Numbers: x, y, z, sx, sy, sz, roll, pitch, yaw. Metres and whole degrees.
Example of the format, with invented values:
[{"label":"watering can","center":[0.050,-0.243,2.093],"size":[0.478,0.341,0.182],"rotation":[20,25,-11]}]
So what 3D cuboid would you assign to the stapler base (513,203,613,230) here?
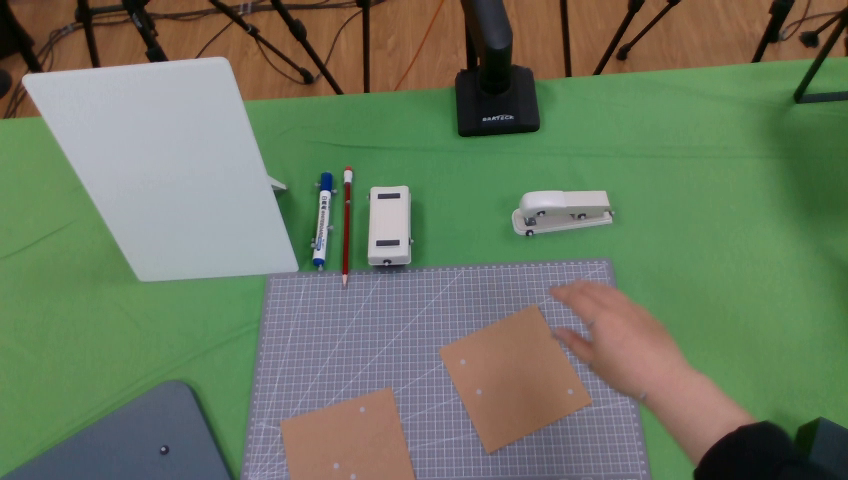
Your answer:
[{"label":"stapler base","center":[0.184,-0.043,0.801],"size":[0.130,0.024,0.041],"rotation":[-7,64,-1]}]

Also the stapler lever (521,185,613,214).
[{"label":"stapler lever","center":[0.184,-0.055,0.780],"size":[0.118,0.040,0.026],"rotation":[-8,64,0]}]

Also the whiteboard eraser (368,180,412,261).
[{"label":"whiteboard eraser","center":[-0.045,-0.026,0.802],"size":[0.055,0.042,0.111],"rotation":[-4,62,5]}]

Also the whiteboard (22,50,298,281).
[{"label":"whiteboard","center":[-0.284,-0.111,0.753],"size":[0.217,0.308,0.142],"rotation":[-3,42,4]}]

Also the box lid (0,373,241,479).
[{"label":"box lid","center":[-0.307,0.347,0.644],"size":[0.263,0.015,0.368],"rotation":[-31,64,-11]}]

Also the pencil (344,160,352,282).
[{"label":"pencil","center":[-0.103,-0.029,0.826],"size":[0.012,0.012,0.192],"rotation":[-5,62,3]}]

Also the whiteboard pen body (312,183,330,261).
[{"label":"whiteboard pen body","center":[-0.139,-0.036,0.829],"size":[0.017,0.017,0.139],"rotation":[-2,62,4]}]

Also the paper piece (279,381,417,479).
[{"label":"paper piece","center":[-0.086,0.240,0.681],"size":[0.135,0.004,0.134],"rotation":[-16,63,-4]}]

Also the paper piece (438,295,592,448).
[{"label":"paper piece","center":[0.104,0.151,0.711],"size":[0.136,0.009,0.137],"rotation":[-25,65,-3]}]

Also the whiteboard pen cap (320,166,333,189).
[{"label":"whiteboard pen cap","center":[-0.137,-0.088,0.855],"size":[0.018,0.018,0.033],"rotation":[-4,60,3]}]
